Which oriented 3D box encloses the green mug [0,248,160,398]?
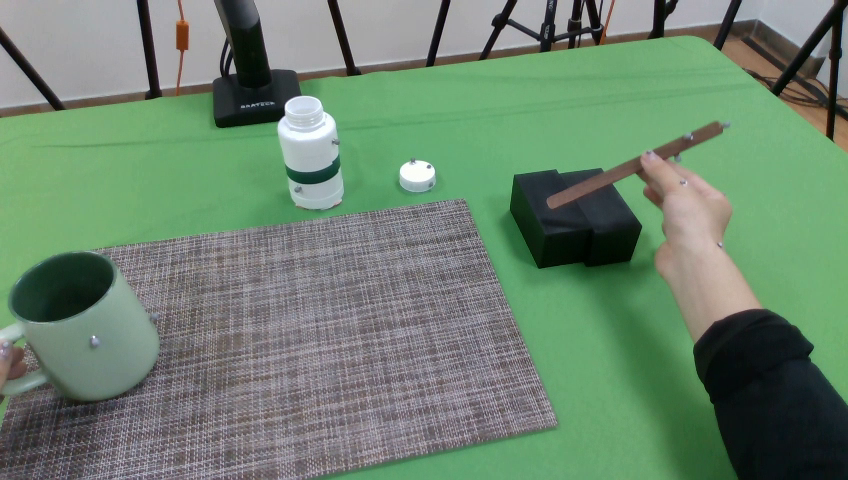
[{"bbox_3d":[-0.292,0.079,0.497,0.125,0.106,0.091,-34,54,-30],"label":"green mug"}]

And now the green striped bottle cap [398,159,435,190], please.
[{"bbox_3d":[-0.009,-0.080,0.733,0.044,0.020,0.044,0,40,0],"label":"green striped bottle cap"}]

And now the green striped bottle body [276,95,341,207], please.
[{"bbox_3d":[-0.129,-0.101,0.679,0.063,0.120,0.062,1,44,0],"label":"green striped bottle body"}]

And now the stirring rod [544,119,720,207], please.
[{"bbox_3d":[0.201,-0.074,0.592,0.176,0.006,0.014,-25,75,13],"label":"stirring rod"}]
